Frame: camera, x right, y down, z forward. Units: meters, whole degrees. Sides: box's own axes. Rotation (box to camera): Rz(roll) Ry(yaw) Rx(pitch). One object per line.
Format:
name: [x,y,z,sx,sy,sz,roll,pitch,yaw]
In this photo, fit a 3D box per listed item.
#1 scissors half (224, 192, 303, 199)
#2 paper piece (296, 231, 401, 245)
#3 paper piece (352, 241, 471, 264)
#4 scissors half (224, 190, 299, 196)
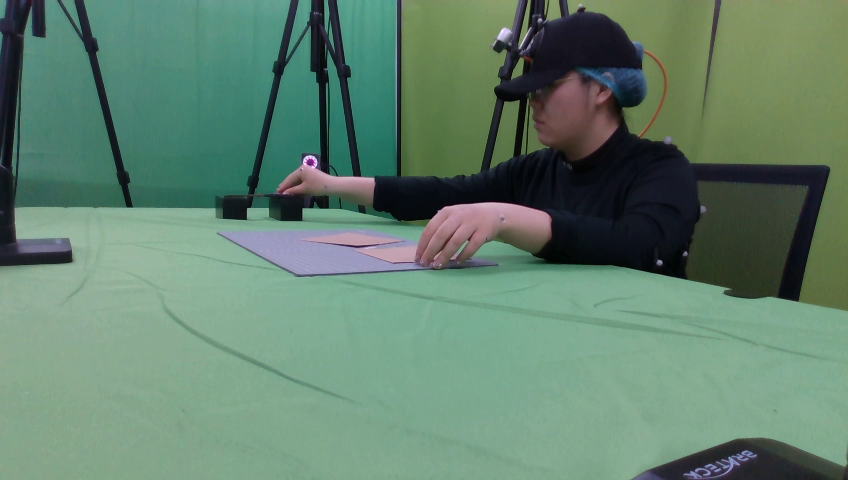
scissors half: [-0.359,-0.100,1.364,0.176,0.013,0.040,-2,12,-23]
paper piece: [-0.127,-0.003,1.052,0.135,0.004,0.136,7,8,33]
paper piece: [-0.020,0.019,0.915,0.137,0.008,0.137,-6,12,-31]
scissors half: [-0.369,-0.105,1.380,0.176,0.013,0.040,-6,20,-37]
